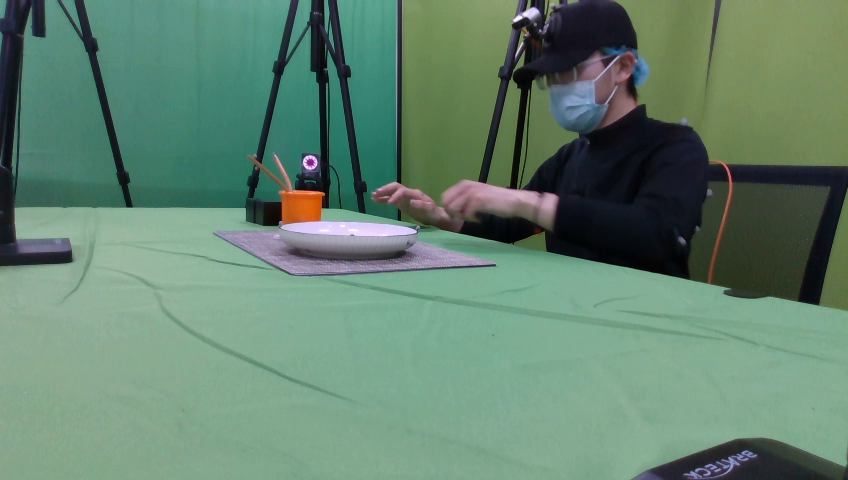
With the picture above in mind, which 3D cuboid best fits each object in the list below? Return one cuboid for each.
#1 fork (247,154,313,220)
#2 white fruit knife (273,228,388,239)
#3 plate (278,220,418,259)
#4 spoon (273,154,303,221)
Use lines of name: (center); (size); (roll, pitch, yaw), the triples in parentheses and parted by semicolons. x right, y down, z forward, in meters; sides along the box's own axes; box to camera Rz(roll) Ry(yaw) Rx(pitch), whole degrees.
fork: (-0.275, -0.096, 1.188); (0.028, 0.018, 0.208); (28, -20, 48)
white fruit knife: (-0.158, -0.009, 1.056); (0.208, 0.016, 0.027); (-3, -22, -23)
plate: (-0.114, -0.002, 0.914); (0.209, 0.038, 0.209); (2, 7, 0)
spoon: (-0.280, -0.107, 1.247); (0.021, 0.193, 0.042); (-28, -29, 9)
